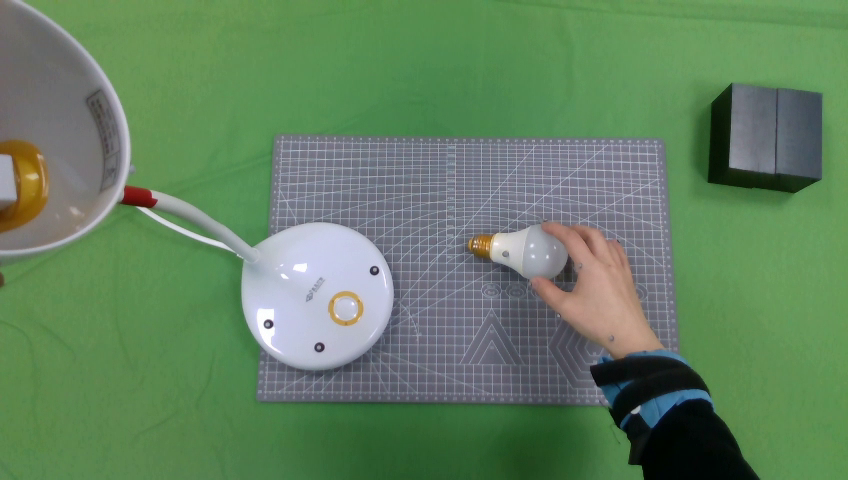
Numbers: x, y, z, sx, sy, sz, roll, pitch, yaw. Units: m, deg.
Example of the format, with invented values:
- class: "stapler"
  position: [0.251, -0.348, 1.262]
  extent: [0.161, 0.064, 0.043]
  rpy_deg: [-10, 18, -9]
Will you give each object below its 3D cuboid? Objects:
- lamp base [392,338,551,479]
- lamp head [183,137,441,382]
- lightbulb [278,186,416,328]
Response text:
- class: "lamp base"
  position: [0.040, 0.156, 0.601]
  extent: [0.179, 0.181, 0.159]
  rpy_deg: [8, 68, 11]
- class: "lamp head"
  position: [-0.066, 0.024, 0.311]
  extent: [0.113, 0.123, 0.111]
  rpy_deg: [19, 57, -31]
- class: "lightbulb"
  position: [-0.044, 0.016, 0.286]
  extent: [0.060, 0.108, 0.059]
  rpy_deg: [14, 59, -24]
